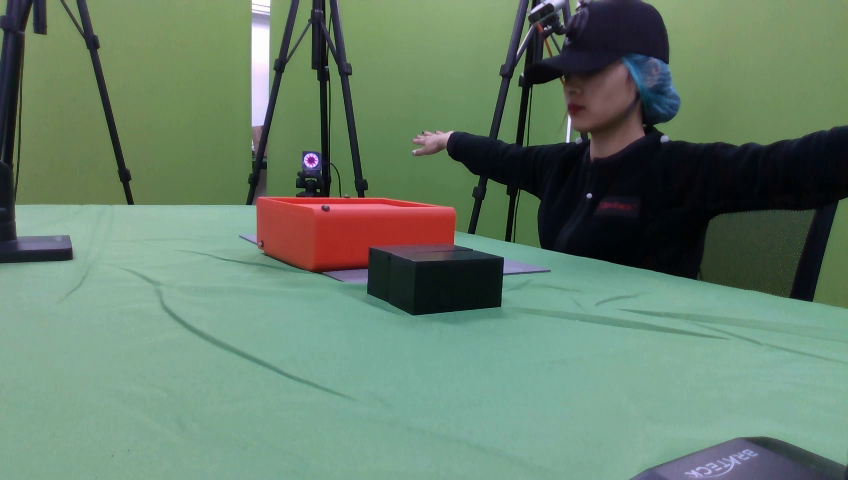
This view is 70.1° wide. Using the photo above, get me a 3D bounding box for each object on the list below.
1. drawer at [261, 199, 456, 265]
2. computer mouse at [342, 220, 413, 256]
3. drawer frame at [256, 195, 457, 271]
[{"bbox_3d":[-0.094,-0.017,0.844,0.213,0.073,0.193,-3,10,-34],"label":"drawer"},{"bbox_3d":[-0.067,-0.004,0.853,0.063,0.041,0.116,1,13,-33],"label":"computer mouse"},{"bbox_3d":[-0.097,-0.017,0.843,0.215,0.082,0.200,-4,10,-35],"label":"drawer frame"}]
